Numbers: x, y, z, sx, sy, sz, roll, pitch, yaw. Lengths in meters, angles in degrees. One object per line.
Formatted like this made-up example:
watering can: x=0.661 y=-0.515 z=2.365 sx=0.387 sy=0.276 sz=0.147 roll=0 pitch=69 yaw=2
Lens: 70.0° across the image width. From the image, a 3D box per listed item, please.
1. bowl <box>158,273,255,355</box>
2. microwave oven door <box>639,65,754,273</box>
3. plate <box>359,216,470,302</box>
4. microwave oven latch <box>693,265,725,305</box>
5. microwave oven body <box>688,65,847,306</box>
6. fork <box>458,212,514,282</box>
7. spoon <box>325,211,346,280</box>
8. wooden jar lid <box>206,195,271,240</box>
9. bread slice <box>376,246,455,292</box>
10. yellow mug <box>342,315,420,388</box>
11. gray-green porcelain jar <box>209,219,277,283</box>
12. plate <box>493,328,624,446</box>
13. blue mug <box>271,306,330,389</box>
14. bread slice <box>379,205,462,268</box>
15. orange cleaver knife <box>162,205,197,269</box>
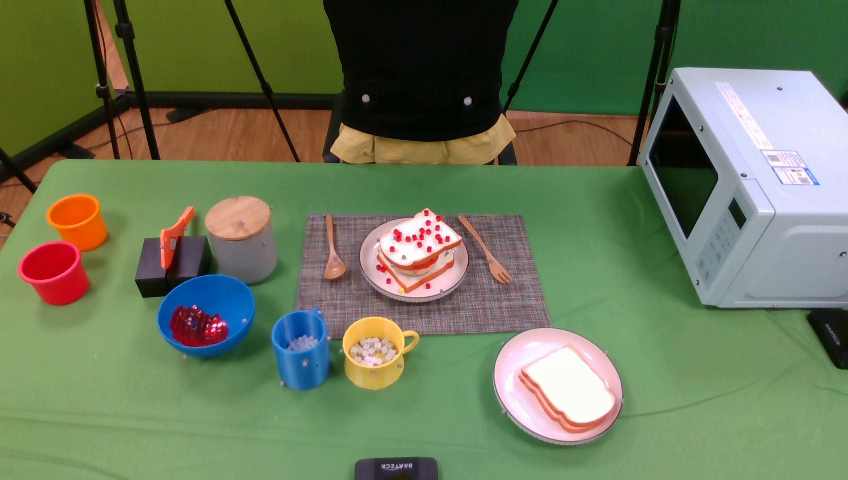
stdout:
bowl: x=-0.351 y=0.136 z=1.001 sx=0.151 sy=0.077 sz=0.150 roll=2 pitch=46 yaw=-2
microwave oven door: x=0.522 y=-0.147 z=1.193 sx=0.039 sy=0.245 sz=0.353 roll=0 pitch=47 yaw=-3
plate: x=-0.019 y=0.038 z=1.140 sx=0.209 sy=0.038 sz=0.208 roll=2 pitch=46 yaw=-2
microwave oven latch: x=0.523 y=0.081 z=1.116 sx=0.030 sy=0.029 sz=0.078 roll=3 pitch=46 yaw=0
microwave oven body: x=0.669 y=-0.111 z=1.176 sx=0.326 sy=0.261 sz=0.439 roll=0 pitch=46 yaw=-3
fork: x=0.116 y=0.011 z=1.188 sx=0.028 sy=0.019 sz=0.206 roll=-20 pitch=52 yaw=-14
spoon: x=-0.177 y=0.006 z=1.170 sx=0.041 sy=0.022 sz=0.192 roll=-21 pitch=48 yaw=7
wooden jar lid: x=-0.319 y=-0.036 z=1.046 sx=0.108 sy=0.021 sz=0.107 roll=1 pitch=44 yaw=-1
bread slice: x=-0.010 y=0.033 z=1.149 sx=0.131 sy=0.019 sz=0.104 roll=-28 pitch=55 yaw=-25
yellow mug: x=-0.068 y=0.177 z=0.990 sx=0.131 sy=0.064 sz=0.099 roll=-15 pitch=50 yaw=-19
gray-green porcelain jar: x=-0.323 y=0.007 z=1.092 sx=0.106 sy=0.127 sz=0.105 roll=1 pitch=46 yaw=-1
plate: x=0.213 y=0.236 z=0.974 sx=0.208 sy=0.039 sz=0.206 roll=2 pitch=46 yaw=-2
blue mug: x=-0.188 y=0.163 z=0.969 sx=0.082 sy=0.106 sz=0.116 roll=15 pitch=47 yaw=10
bread slice: x=-0.012 y=-0.001 z=1.097 sx=0.134 sy=0.018 sz=0.106 roll=-33 pitch=51 yaw=-23
orange cleaver knife: x=-0.454 y=-0.010 z=1.129 sx=0.012 sy=0.077 sz=0.210 roll=1 pitch=20 yaw=-6
